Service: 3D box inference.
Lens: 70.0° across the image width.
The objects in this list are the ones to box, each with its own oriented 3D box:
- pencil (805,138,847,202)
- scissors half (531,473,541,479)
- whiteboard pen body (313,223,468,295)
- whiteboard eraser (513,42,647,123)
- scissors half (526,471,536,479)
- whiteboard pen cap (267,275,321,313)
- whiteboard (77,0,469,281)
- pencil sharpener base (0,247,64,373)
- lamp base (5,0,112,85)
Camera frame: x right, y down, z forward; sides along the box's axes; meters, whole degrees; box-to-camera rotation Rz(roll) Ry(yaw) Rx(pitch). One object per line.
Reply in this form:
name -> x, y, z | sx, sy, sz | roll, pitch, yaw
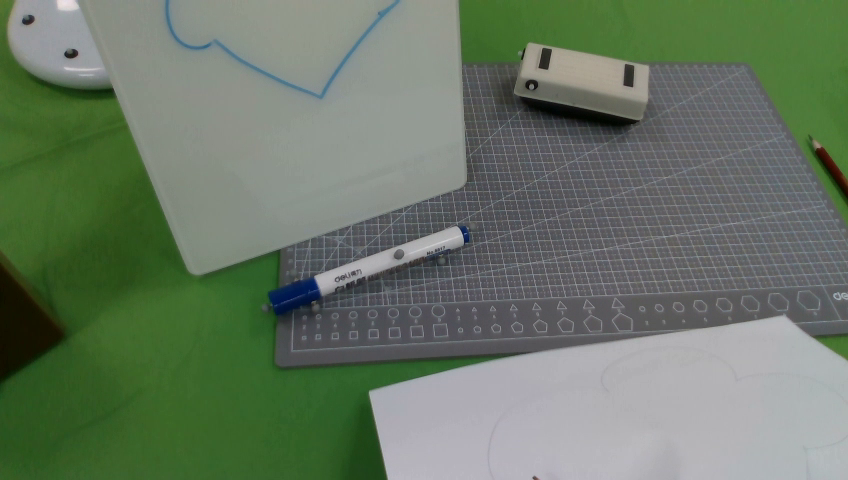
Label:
pencil -> 0.364, -0.017, 0.498 | 0.012, 0.012, 0.192 | -5, 54, -9
scissors half -> 0.118, 0.167, 0.290 | 0.175, 0.040, 0.013 | 41, 80, -4
whiteboard pen body -> -0.033, 0.016, 0.419 | 0.141, 0.017, 0.017 | -20, 59, -17
whiteboard eraser -> 0.137, -0.137, 0.534 | 0.112, 0.042, 0.055 | 13, 55, 4
scissors half -> 0.116, 0.160, 0.267 | 0.173, 0.040, 0.013 | 33, 74, 29
whiteboard pen cap -> -0.086, 0.035, 0.402 | 0.033, 0.018, 0.018 | -21, 59, -18
whiteboard -> -0.103, -0.163, 0.405 | 0.217, 0.308, 0.142 | -20, 39, -17
pencil sharpener base -> -0.268, 0.032, 0.336 | 0.061, 0.108, 0.076 | 39, 60, 20
lamp base -> -0.289, -0.246, 0.485 | 0.178, 0.182, 0.160 | 31, 58, 19
